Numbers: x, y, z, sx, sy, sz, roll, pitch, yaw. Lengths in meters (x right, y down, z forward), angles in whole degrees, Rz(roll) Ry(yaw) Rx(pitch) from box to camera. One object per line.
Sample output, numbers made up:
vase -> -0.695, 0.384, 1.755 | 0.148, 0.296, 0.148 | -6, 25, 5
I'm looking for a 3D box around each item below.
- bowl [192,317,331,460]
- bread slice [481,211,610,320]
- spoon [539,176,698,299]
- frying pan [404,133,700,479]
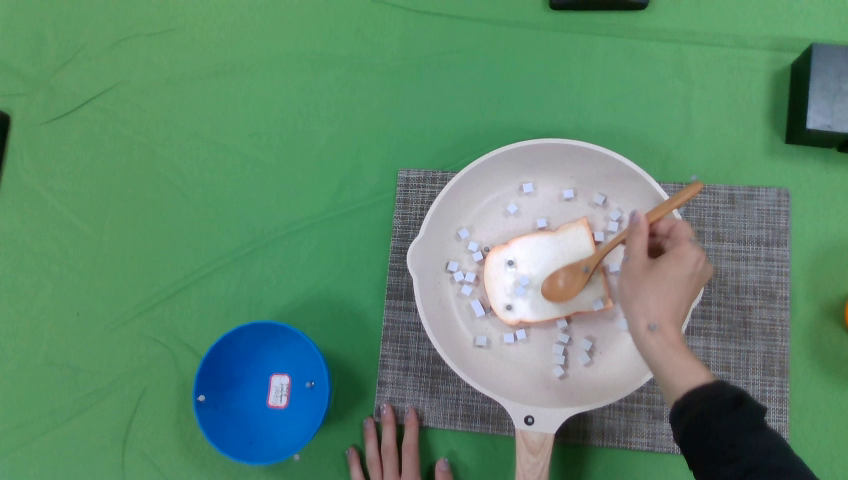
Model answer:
bowl -> -0.170, 0.163, 0.681 | 0.151, 0.077, 0.151 | -1, 81, 6
bread slice -> 0.133, 0.037, 0.688 | 0.134, 0.018, 0.106 | -17, 80, 2
spoon -> 0.193, 0.000, 0.616 | 0.194, 0.022, 0.041 | -45, 41, 31
frying pan -> 0.118, 0.130, 0.636 | 0.306, 0.103, 0.485 | 6, 74, 9
